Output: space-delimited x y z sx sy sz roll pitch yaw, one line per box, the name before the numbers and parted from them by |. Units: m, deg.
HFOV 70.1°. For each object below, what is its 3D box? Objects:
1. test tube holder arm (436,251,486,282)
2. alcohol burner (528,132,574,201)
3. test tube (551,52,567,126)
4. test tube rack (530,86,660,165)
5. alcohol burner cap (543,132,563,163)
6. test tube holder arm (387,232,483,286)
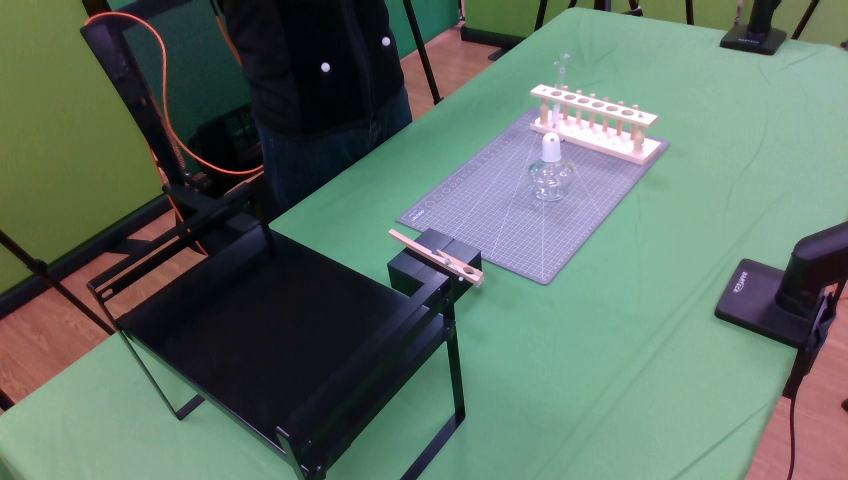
test tube holder arm | 0.049 0.037 0.852 0.087 0.015 0.010 25 56 33
alcohol burner | 0.214 -0.126 1.016 0.078 0.119 0.077 -6 38 5
test tube | 0.253 -0.282 1.138 0.017 0.151 0.017 -2 43 2
test tube rack | 0.320 -0.226 1.140 0.240 0.085 0.067 27 51 34
alcohol burner cap | 0.211 -0.154 0.994 0.034 0.048 0.033 -7 35 6
test tube holder arm | 0.012 0.025 0.874 0.177 0.015 0.013 24 56 33
